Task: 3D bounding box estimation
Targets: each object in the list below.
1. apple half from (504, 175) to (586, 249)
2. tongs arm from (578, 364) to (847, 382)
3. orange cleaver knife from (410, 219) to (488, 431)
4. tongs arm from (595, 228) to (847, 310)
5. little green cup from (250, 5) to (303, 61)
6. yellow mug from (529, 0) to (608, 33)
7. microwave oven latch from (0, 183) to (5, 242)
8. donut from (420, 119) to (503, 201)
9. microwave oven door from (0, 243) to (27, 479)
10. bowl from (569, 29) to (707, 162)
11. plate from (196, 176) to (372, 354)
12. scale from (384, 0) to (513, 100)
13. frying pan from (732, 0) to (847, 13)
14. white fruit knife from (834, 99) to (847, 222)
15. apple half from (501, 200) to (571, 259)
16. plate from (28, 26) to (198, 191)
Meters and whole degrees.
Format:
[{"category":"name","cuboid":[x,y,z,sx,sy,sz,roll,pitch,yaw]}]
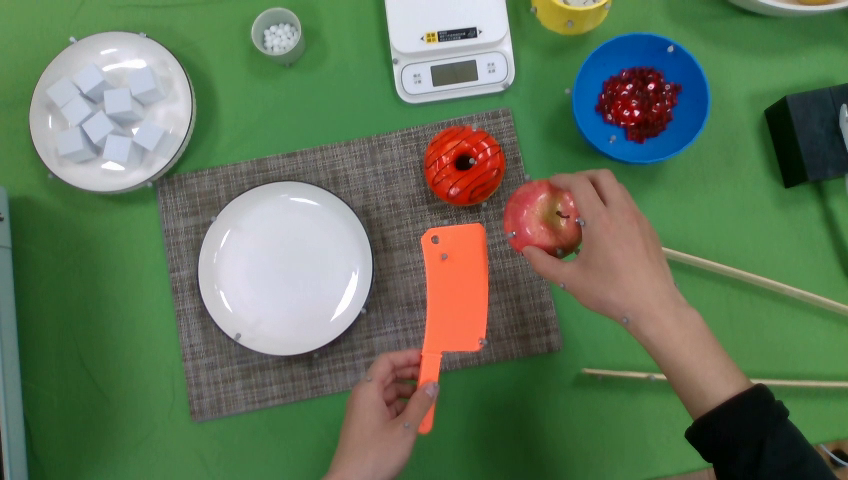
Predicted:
[{"category":"apple half","cuboid":[0.123,-0.033,0.589,0.081,0.075,0.053,37,81,1]},{"category":"tongs arm","cuboid":[0.371,0.136,0.687,0.385,0.026,0.050,4,79,3]},{"category":"orange cleaver knife","cuboid":[0.025,0.079,0.595,0.077,0.012,0.210,8,81,-12]},{"category":"tongs arm","cuboid":[0.386,0.052,0.699,0.387,0.028,0.028,19,77,5]},{"category":"little green cup","cuboid":[-0.180,-0.255,0.754,0.061,0.039,0.061,0,83,3]},{"category":"yellow mug","cuboid":[0.168,-0.323,0.731,0.100,0.064,0.130,-44,83,-2]},{"category":"microwave oven latch","cuboid":[-0.527,-0.037,0.729,0.030,0.029,0.079,-7,84,1]},{"category":"donut","cuboid":[0.044,-0.095,0.720,0.099,0.048,0.099,0,85,5]},{"category":"microwave oven door","cuboid":[-0.503,0.167,0.604,0.039,0.244,0.354,-9,83,2]},{"category":"bowl","cuboid":[0.237,-0.157,0.704,0.151,0.077,0.151,0,84,3]},{"category":"plate","cuboid":[-0.163,0.029,0.719,0.209,0.038,0.208,0,84,3]},{"category":"scale","cuboid":[0.026,-0.280,0.750,0.148,0.031,0.200,-7,84,2]},{"category":"frying pan","cuboid":[0.498,-0.324,0.696,0.307,0.103,0.485,-38,75,-1]},{"category":"white fruit knife","cuboid":[0.480,-0.055,0.681,0.016,0.027,0.208,-14,98,2]},{"category":"apple half","cuboid":[0.100,-0.002,0.584,0.081,0.081,0.033,37,81,7]},{"category":"plate","cuboid":[-0.380,-0.161,0.754,0.207,0.039,0.207,0,84,3]}]
